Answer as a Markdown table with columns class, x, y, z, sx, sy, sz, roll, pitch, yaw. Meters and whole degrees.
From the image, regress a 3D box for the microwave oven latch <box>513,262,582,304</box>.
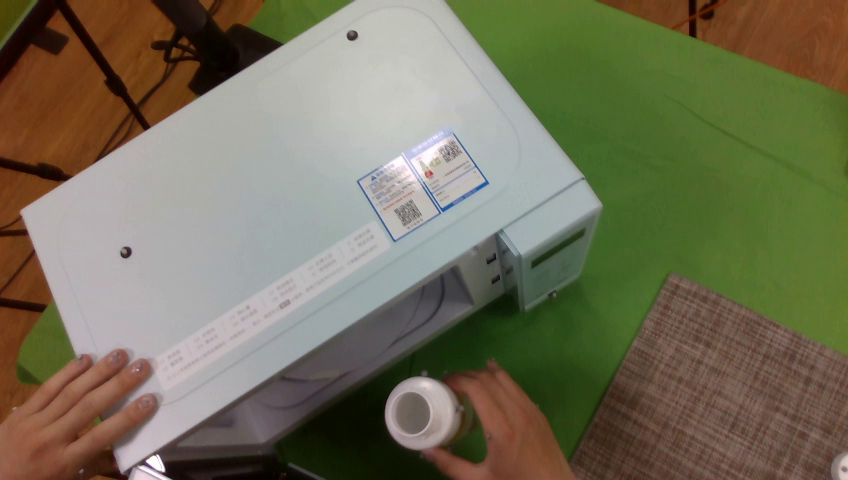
| class | x | y | z | sx | sy | sz | roll | pitch | yaw |
| --- | --- | --- | --- | --- | --- | --- | --- | --- | --- |
| microwave oven latch | 0.139 | 0.040 | 0.683 | 0.079 | 0.030 | 0.030 | -31 | 71 | 0 |

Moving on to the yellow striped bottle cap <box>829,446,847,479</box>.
| class | x | y | z | sx | sy | sz | roll | pitch | yaw |
| --- | --- | --- | --- | --- | --- | --- | --- | --- | --- |
| yellow striped bottle cap | 0.432 | 0.229 | 0.604 | 0.044 | 0.019 | 0.044 | -3 | 73 | 10 |

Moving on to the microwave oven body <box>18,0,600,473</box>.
| class | x | y | z | sx | sy | sz | roll | pitch | yaw |
| --- | --- | --- | --- | --- | --- | --- | --- | --- | --- |
| microwave oven body | -0.103 | -0.008 | 0.636 | 0.442 | 0.262 | 0.323 | -33 | 71 | -1 |

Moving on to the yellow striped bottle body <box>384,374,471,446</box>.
| class | x | y | z | sx | sy | sz | roll | pitch | yaw |
| --- | --- | --- | --- | --- | --- | --- | --- | --- | --- |
| yellow striped bottle body | 0.003 | 0.157 | 0.561 | 0.062 | 0.121 | 0.062 | -4 | 74 | 14 |

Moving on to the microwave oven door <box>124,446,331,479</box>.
| class | x | y | z | sx | sy | sz | roll | pitch | yaw |
| --- | --- | --- | --- | --- | --- | --- | --- | --- | --- |
| microwave oven door | -0.053 | 0.274 | 0.537 | 0.354 | 0.245 | 0.039 | 19 | 77 | 14 |
